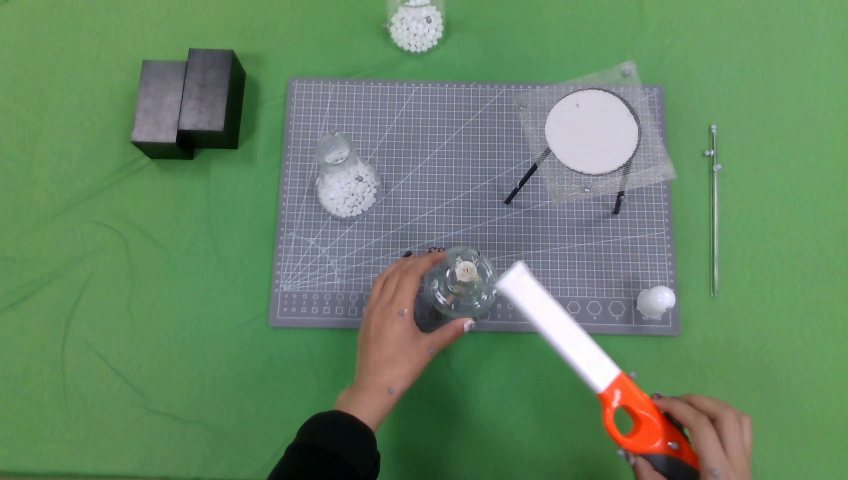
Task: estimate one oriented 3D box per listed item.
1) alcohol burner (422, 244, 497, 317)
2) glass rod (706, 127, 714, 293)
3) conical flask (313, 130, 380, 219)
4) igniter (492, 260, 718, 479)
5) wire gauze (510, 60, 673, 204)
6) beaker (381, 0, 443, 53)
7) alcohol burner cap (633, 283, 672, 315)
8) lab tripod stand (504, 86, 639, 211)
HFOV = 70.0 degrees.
[{"bbox_3d":[0.038,0.038,0.619,0.078,0.119,0.077,0,76,-2],"label":"alcohol burner"},{"bbox_3d":[0.328,-0.037,0.694,0.008,0.008,0.198,6,76,1],"label":"glass rod"},{"bbox_3d":[-0.088,-0.073,0.640,0.075,0.122,0.075,0,76,0],"label":"conical flask"},{"bbox_3d":[0.161,0.130,0.524,0.057,0.025,0.276,-43,91,-13],"label":"igniter"},{"bbox_3d":[0.158,-0.102,0.572,0.125,0.011,0.121,-15,77,-3],"label":"wire gauze"},{"bbox_3d":[-0.011,-0.273,0.702,0.084,0.100,0.073,-39,80,-9],"label":"beaker"},{"bbox_3d":[0.249,0.061,0.650,0.034,0.048,0.033,0,77,-1],"label":"alcohol burner cap"},{"bbox_3d":[0.158,-0.088,0.639,0.148,0.132,0.147,0,78,1],"label":"lab tripod stand"}]
